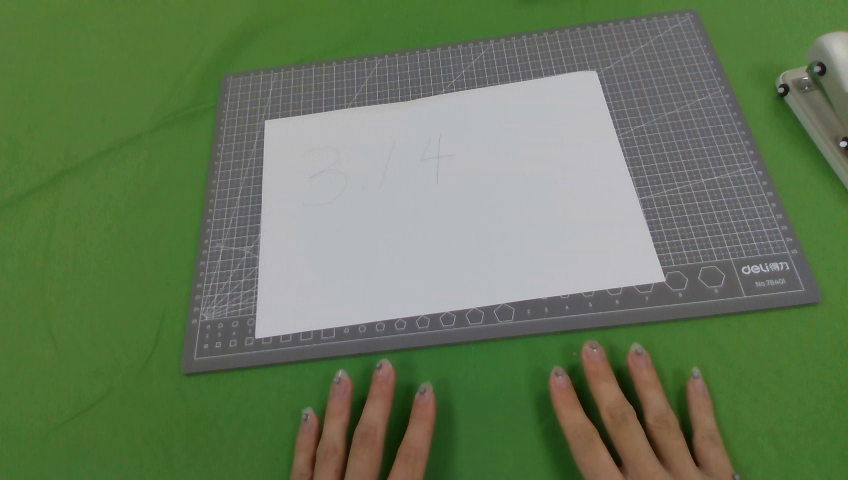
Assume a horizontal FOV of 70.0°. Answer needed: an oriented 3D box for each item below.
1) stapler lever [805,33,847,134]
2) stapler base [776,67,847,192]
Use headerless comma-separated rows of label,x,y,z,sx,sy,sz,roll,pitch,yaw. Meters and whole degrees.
stapler lever,0.321,-0.102,0.446,0.027,0.040,0.117,-15,61,2
stapler base,0.323,-0.091,0.469,0.041,0.024,0.129,-15,61,2
